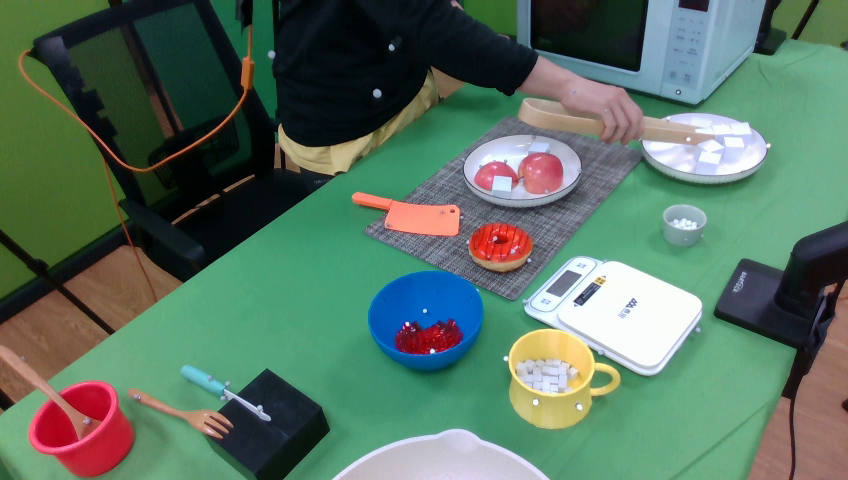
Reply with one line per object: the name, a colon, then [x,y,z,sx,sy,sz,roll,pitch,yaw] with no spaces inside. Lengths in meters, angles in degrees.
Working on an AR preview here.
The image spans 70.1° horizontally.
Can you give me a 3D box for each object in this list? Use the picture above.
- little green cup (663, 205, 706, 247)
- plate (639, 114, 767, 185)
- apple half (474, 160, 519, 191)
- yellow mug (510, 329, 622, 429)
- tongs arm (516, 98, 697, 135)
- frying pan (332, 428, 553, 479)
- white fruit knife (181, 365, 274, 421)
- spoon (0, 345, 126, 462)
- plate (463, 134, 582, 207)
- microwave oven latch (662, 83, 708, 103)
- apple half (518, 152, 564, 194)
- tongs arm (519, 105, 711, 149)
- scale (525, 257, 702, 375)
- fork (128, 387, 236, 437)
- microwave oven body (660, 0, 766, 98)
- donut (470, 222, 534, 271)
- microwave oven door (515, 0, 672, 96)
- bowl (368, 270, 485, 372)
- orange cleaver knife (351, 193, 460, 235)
little green cup: [0.396,-0.021,0.927,0.061,0.039,0.061,-4,40,4]
plate: [0.489,-0.157,1.074,0.207,0.039,0.206,-4,40,4]
apple half: [0.131,-0.120,1.068,0.081,0.033,0.081,-4,37,3]
yellow mug: [0.169,0.164,0.721,0.130,0.064,0.099,0,40,8]
tongs arm: [0.319,-0.194,1.008,0.387,0.026,0.050,4,35,-22]
frying pan: [-0.089,0.306,0.564,0.487,0.103,0.306,10,41,7]
white fruit knife: [-0.245,0.187,0.747,0.205,0.027,0.016,9,41,41]
spoon: [-0.434,0.191,0.720,0.194,0.021,0.042,47,53,-6]
plate: [0.173,-0.119,1.070,0.209,0.038,0.208,-4,40,4]
microwave oven latch: [0.518,-0.296,1.204,0.078,0.029,0.030,28,52,35]
apple half: [0.204,-0.124,1.048,0.075,0.053,0.080,-6,40,-2]
tongs arm: [0.328,-0.179,0.989,0.390,0.028,0.028,2,40,-25]
scale: [0.254,0.091,0.821,0.199,0.032,0.149,28,51,35]
fork: [-0.305,0.207,0.744,0.206,0.019,0.028,3,41,36]
microwave oven body: [0.472,-0.513,1.317,0.438,0.261,0.327,26,51,34]
donut: [0.118,0.009,0.923,0.099,0.048,0.098,-3,38,3]
microwave oven door: [0.343,-0.455,1.259,0.353,0.245,0.039,26,51,33]
bowl: [0.007,0.118,0.791,0.151,0.077,0.150,-4,40,4]
orange cleaver knife: [-0.036,-0.044,1.029,0.210,0.012,0.077,10,49,18]
